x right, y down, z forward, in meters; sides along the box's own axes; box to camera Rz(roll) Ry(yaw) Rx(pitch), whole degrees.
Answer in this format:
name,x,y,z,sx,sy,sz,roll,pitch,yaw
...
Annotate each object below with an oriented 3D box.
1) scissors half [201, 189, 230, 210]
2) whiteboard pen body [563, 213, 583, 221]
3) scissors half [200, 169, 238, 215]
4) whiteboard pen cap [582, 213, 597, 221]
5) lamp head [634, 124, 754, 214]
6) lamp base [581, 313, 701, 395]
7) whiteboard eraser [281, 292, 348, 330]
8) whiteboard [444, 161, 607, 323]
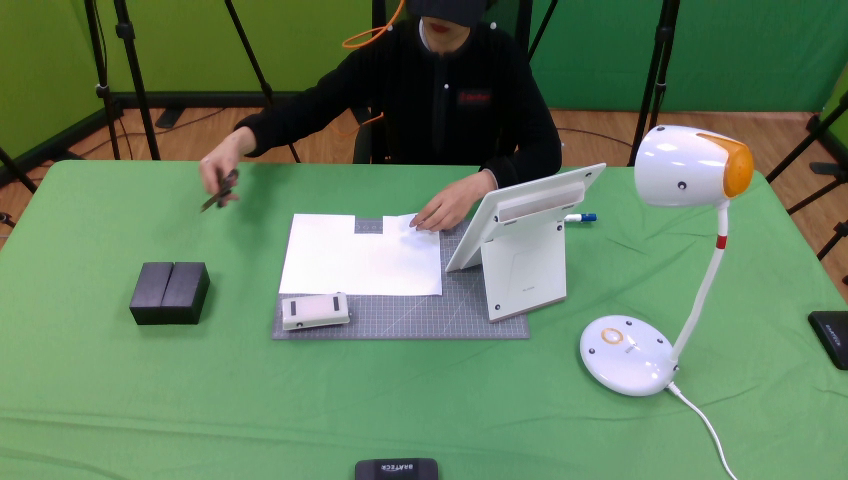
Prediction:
name,x,y,z,sx,sy,sz,roll,pitch,yaw
scissors half,-0.380,-0.069,1.100,0.013,0.040,0.174,22,7,-9
whiteboard pen body,0.283,-0.047,1.257,0.141,0.017,0.017,-1,46,-2
scissors half,-0.370,-0.087,1.093,0.013,0.040,0.174,27,30,-11
whiteboard pen cap,0.342,-0.048,1.260,0.033,0.018,0.018,-3,46,-3
lamp head,0.351,-0.089,0.775,0.112,0.113,0.122,-30,30,-28
lamp base,0.361,0.144,0.973,0.178,0.181,0.160,34,53,23
whiteboard eraser,-0.189,0.124,1.045,0.113,0.042,0.055,-6,46,-10
whiteboard,0.186,0.025,1.029,0.217,0.306,0.143,-14,68,-18
